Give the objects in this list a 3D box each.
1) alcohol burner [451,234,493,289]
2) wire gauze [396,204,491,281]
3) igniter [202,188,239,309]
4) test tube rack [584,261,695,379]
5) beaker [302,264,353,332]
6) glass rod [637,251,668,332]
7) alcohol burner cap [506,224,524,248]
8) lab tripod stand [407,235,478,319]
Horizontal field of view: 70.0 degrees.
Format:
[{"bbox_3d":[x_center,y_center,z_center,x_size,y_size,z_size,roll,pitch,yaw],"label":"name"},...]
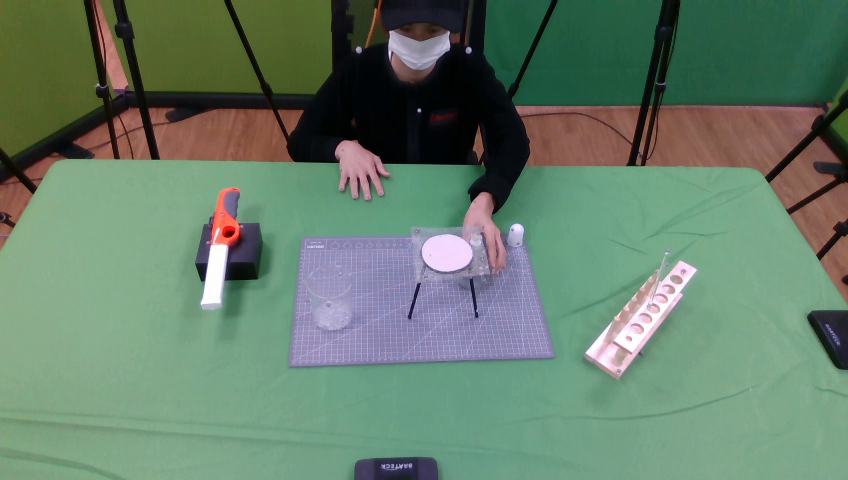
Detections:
[{"bbox_3d":[0.089,0.034,1.106,0.078,0.120,0.077,1,47,0],"label":"alcohol burner"},{"bbox_3d":[0.032,0.004,0.999,0.125,0.011,0.120,-22,54,-14],"label":"wire gauze"},{"bbox_3d":[-0.366,0.006,1.095,0.057,0.025,0.274,-2,49,-7],"label":"igniter"},{"bbox_3d":[0.380,0.127,1.062,0.066,0.085,0.242,34,53,26],"label":"test tube rack"},{"bbox_3d":[-0.162,0.101,1.030,0.084,0.101,0.073,4,46,0],"label":"beaker"},{"bbox_3d":[0.378,0.090,1.005,0.008,0.201,0.008,-1,44,1],"label":"glass rod"},{"bbox_3d":[0.183,-0.010,1.206,0.034,0.048,0.033,1,45,-1],"label":"alcohol burner cap"},{"bbox_3d":[0.032,0.065,1.057,0.148,0.132,0.147,1,45,-1],"label":"lab tripod stand"}]
